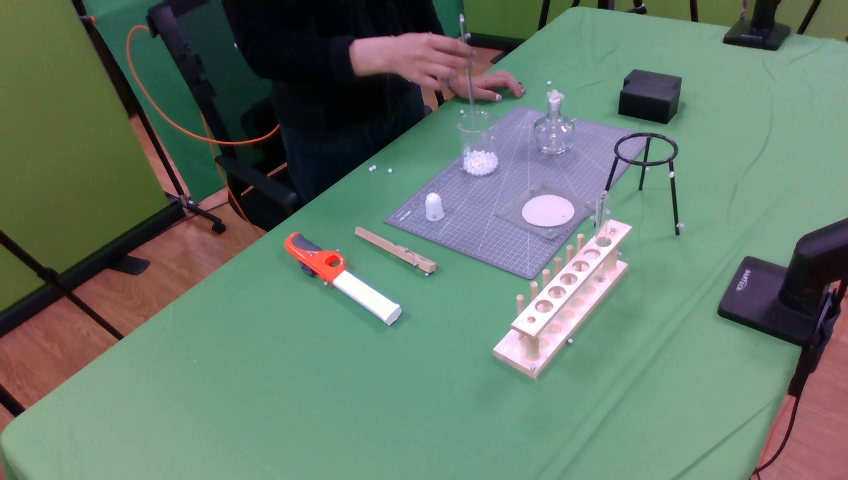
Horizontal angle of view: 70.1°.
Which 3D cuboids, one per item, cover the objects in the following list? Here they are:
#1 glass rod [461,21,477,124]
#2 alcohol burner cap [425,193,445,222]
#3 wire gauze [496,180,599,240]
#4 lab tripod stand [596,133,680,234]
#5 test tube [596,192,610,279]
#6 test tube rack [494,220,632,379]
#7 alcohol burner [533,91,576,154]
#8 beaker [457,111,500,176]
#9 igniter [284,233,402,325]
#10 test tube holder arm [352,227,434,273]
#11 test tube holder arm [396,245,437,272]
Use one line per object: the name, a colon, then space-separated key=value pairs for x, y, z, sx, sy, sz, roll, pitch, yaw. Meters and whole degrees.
glass rod: x=0.077 y=-0.275 z=1.013 sx=0.008 sy=0.201 sz=0.008 roll=-6 pitch=49 yaw=7
alcohol burner cap: x=0.017 y=-0.058 z=1.030 sx=0.034 sy=0.048 sz=0.033 roll=-6 pitch=40 yaw=5
wire gauze: x=0.206 y=-0.050 z=1.012 sx=0.125 sy=0.011 sz=0.120 roll=-34 pitch=45 yaw=-26
lab tripod stand: x=0.338 y=-0.091 z=0.940 sx=0.148 sy=0.132 sz=0.147 roll=-7 pitch=39 yaw=6
test tube: x=0.240 y=-0.002 z=0.814 sx=0.017 sy=0.151 sz=0.017 roll=-7 pitch=42 yaw=7
test tube rack: x=0.191 y=0.068 z=0.818 sx=0.066 sy=0.085 sz=0.243 roll=25 pitch=51 yaw=35
alcohol burner: x=0.243 y=-0.221 z=1.124 sx=0.078 sy=0.119 sz=0.077 roll=-4 pitch=39 yaw=4
beaker: x=0.104 y=-0.176 z=1.108 sx=0.073 sy=0.101 sz=0.084 roll=16 pitch=46 yaw=27
igniter: x=-0.136 y=0.054 z=0.942 sx=0.274 sy=0.025 sz=0.057 roll=29 pitch=63 yaw=37
test tube holder arm: x=-0.053 y=0.014 z=0.978 sx=0.177 sy=0.015 sz=0.013 roll=25 pitch=15 yaw=33
test tube holder arm: x=-0.016 y=0.029 z=0.957 sx=0.087 sy=0.015 sz=0.010 roll=25 pitch=15 yaw=35
